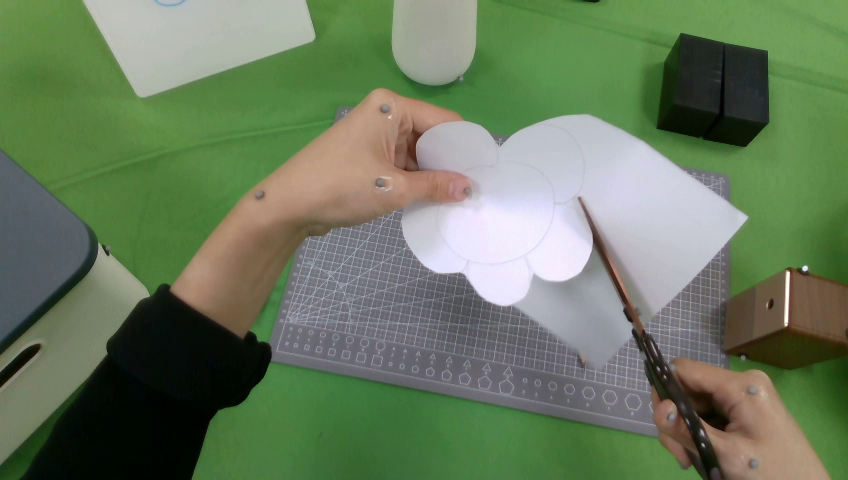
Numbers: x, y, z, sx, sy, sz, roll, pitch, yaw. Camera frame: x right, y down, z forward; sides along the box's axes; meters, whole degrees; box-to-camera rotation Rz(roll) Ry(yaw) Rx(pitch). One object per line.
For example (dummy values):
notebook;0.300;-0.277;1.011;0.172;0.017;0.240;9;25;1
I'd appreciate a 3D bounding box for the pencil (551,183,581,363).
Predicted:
pencil;0.148;0.030;0.629;0.012;0.012;0.192;-3;71;-3

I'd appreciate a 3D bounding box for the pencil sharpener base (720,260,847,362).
pencil sharpener base;0.341;0.071;0.569;0.077;0.107;0.061;15;68;1

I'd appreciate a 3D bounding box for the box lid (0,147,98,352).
box lid;-0.465;-0.011;0.461;0.370;0.015;0.262;36;71;11

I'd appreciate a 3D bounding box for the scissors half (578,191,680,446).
scissors half;0.126;0.049;0.364;0.013;0.040;0.176;-24;106;8

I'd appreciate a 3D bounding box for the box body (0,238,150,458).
box body;-0.465;0.018;0.530;0.362;0.161;0.253;36;72;11

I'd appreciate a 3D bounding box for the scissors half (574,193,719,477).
scissors half;0.124;0.052;0.343;0.013;0.040;0.174;-25;83;3

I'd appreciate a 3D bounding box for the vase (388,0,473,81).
vase;0.008;-0.261;0.638;0.098;0.201;0.097;0;67;-1

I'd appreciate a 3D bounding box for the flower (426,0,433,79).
flower;0.005;-0.305;0.566;0.044;0.365;0.038;4;50;3

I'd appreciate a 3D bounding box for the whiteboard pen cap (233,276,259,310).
whiteboard pen cap;-0.175;0.052;0.602;0.018;0.018;0.033;16;64;5

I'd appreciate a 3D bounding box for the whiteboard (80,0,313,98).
whiteboard;-0.275;-0.347;0.636;0.217;0.308;0.142;-22;51;-10

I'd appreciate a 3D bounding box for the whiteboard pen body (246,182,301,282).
whiteboard pen body;-0.159;0.000;0.625;0.017;0.017;0.140;17;67;5

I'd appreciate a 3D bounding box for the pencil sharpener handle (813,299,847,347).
pencil sharpener handle;0.391;0.080;0.557;0.030;0.068;0.035;15;62;1
